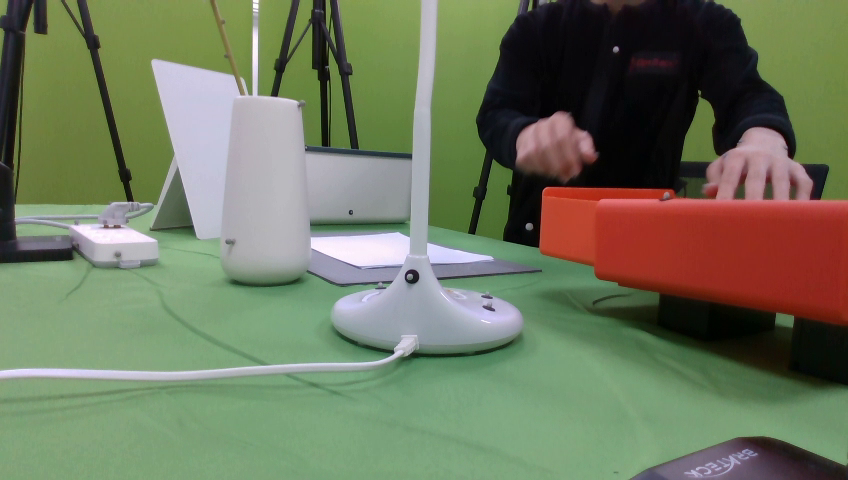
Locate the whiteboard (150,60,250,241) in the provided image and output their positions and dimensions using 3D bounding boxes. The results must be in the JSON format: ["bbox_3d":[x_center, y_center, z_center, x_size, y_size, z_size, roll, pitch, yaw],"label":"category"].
[{"bbox_3d":[-0.408,-0.139,1.093,0.143,0.305,0.218,-15,-1,26],"label":"whiteboard"}]

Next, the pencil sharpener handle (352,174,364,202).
[{"bbox_3d":[-0.157,-0.125,1.450,0.031,0.068,0.036,2,19,-11],"label":"pencil sharpener handle"}]

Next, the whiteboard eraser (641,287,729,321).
[{"bbox_3d":[0.215,0.029,0.545,0.112,0.042,0.056,42,22,33],"label":"whiteboard eraser"}]

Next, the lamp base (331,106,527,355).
[{"bbox_3d":[0.006,-0.012,0.478,0.161,0.180,0.179,2,10,2],"label":"lamp base"}]

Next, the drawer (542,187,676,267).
[{"bbox_3d":[0.252,-0.007,0.569,0.195,0.073,0.210,-1,9,-29],"label":"drawer"}]

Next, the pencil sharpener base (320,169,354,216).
[{"bbox_3d":[-0.207,-0.113,1.438,0.077,0.107,0.061,2,6,-11],"label":"pencil sharpener base"}]

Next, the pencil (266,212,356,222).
[{"bbox_3d":[-0.244,-0.049,1.319,0.195,0.012,0.012,4,7,-12],"label":"pencil"}]

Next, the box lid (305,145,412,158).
[{"bbox_3d":[-0.228,-0.200,1.362,0.373,0.015,0.262,-1,8,-33],"label":"box lid"}]

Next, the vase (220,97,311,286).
[{"bbox_3d":[-0.172,-0.052,0.662,0.098,0.200,0.098,3,8,0],"label":"vase"}]

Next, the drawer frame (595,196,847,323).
[{"bbox_3d":[0.290,0.004,0.501,0.203,0.082,0.212,-1,5,-29],"label":"drawer frame"}]

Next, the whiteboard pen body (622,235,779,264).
[{"bbox_3d":[0.266,0.007,0.591,0.140,0.017,0.017,7,9,24],"label":"whiteboard pen body"}]

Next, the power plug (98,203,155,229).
[{"bbox_3d":[-0.416,-0.026,0.848,0.073,0.052,0.035,1,7,-28],"label":"power plug"}]

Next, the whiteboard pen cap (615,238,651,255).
[{"bbox_3d":[0.213,0.008,0.617,0.033,0.018,0.018,4,8,26],"label":"whiteboard pen cap"}]

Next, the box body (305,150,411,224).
[{"bbox_3d":[-0.230,-0.126,1.371,0.366,0.160,0.253,-2,8,-33],"label":"box body"}]

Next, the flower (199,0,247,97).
[{"bbox_3d":[-0.187,-0.133,0.648,0.038,0.362,0.044,-1,21,42],"label":"flower"}]

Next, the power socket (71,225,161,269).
[{"bbox_3d":[-0.408,0.004,0.793,0.072,0.032,0.225,-2,8,-38],"label":"power socket"}]
